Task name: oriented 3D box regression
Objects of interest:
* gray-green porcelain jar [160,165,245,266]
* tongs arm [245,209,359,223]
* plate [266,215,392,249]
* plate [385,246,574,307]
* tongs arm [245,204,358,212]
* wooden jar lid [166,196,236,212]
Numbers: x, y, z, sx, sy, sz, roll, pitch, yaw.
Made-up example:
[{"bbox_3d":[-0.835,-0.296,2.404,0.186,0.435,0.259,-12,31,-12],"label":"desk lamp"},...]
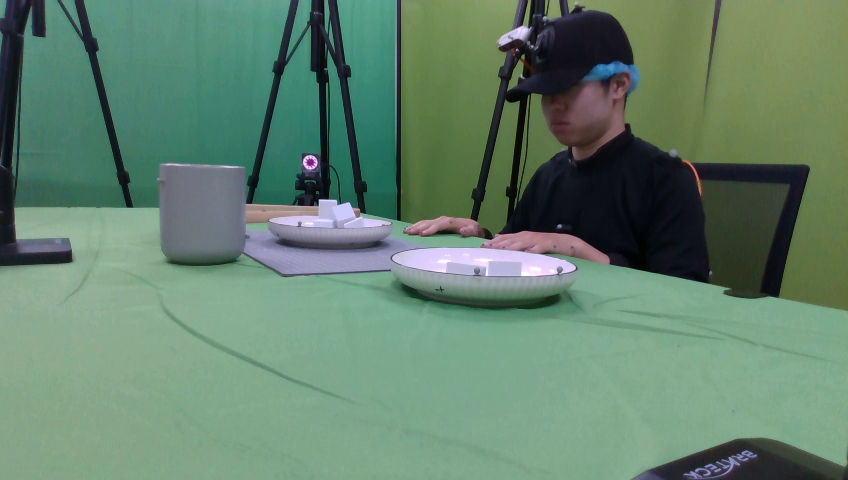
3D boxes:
[{"bbox_3d":[-0.291,-0.034,0.799,0.106,0.126,0.106,2,8,0],"label":"gray-green porcelain jar"},{"bbox_3d":[-0.300,-0.053,1.340,0.390,0.028,0.028,-3,7,-40],"label":"tongs arm"},{"bbox_3d":[-0.159,-0.015,1.019,0.209,0.038,0.209,3,7,0],"label":"plate"},{"bbox_3d":[0.060,0.041,0.678,0.208,0.039,0.207,3,7,0],"label":"plate"},{"bbox_3d":[-0.342,-0.068,1.409,0.387,0.026,0.050,0,9,-27],"label":"tongs arm"},{"bbox_3d":[-0.369,-0.059,1.001,0.108,0.020,0.108,3,6,0],"label":"wooden jar lid"}]
